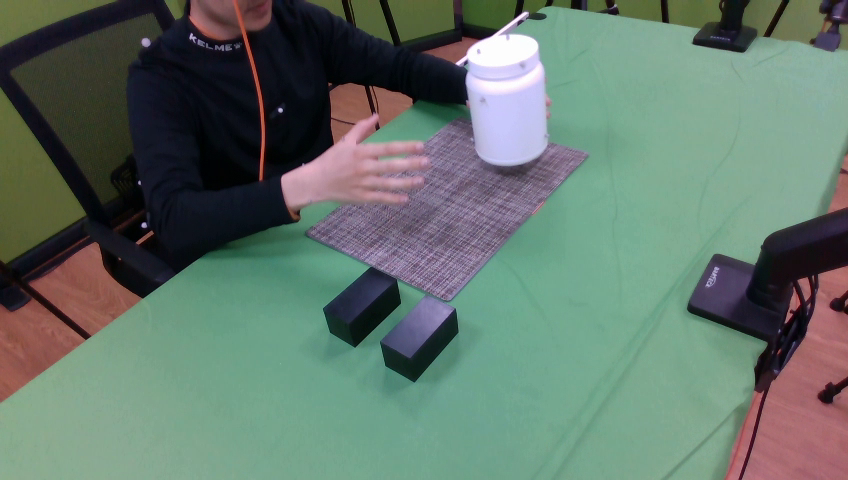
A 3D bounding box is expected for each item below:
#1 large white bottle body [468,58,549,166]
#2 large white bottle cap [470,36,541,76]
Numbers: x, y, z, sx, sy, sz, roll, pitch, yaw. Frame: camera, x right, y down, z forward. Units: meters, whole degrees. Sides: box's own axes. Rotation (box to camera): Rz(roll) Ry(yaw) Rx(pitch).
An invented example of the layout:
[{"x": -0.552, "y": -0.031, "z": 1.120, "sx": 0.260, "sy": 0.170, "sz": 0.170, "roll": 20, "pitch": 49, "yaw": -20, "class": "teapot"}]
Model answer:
[{"x": 0.145, "y": -0.235, "z": 1.030, "sx": 0.130, "sy": 0.185, "sz": 0.130, "roll": -7, "pitch": 40, "yaw": 6, "class": "large white bottle body"}, {"x": 0.131, "y": -0.299, "z": 0.977, "sx": 0.115, "sy": 0.018, "sz": 0.114, "roll": -6, "pitch": 40, "yaw": 6, "class": "large white bottle cap"}]
